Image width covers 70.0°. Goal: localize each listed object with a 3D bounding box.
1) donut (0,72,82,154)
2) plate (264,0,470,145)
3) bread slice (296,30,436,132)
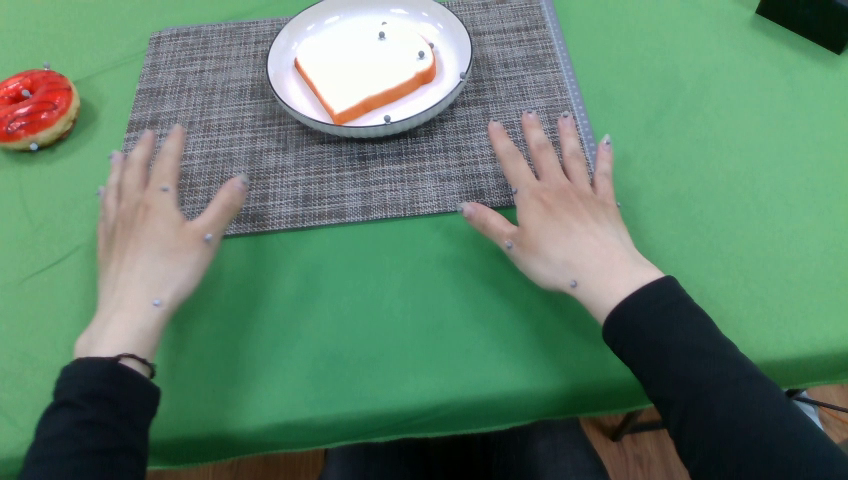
[{"bbox_3d":[-0.400,-0.130,0.615,0.099,0.049,0.098,-2,57,4],"label":"donut"},{"bbox_3d":[-0.056,-0.171,0.623,0.207,0.039,0.205,-1,56,2],"label":"plate"},{"bbox_3d":[-0.056,-0.173,0.627,0.131,0.019,0.104,-28,60,-14],"label":"bread slice"}]
